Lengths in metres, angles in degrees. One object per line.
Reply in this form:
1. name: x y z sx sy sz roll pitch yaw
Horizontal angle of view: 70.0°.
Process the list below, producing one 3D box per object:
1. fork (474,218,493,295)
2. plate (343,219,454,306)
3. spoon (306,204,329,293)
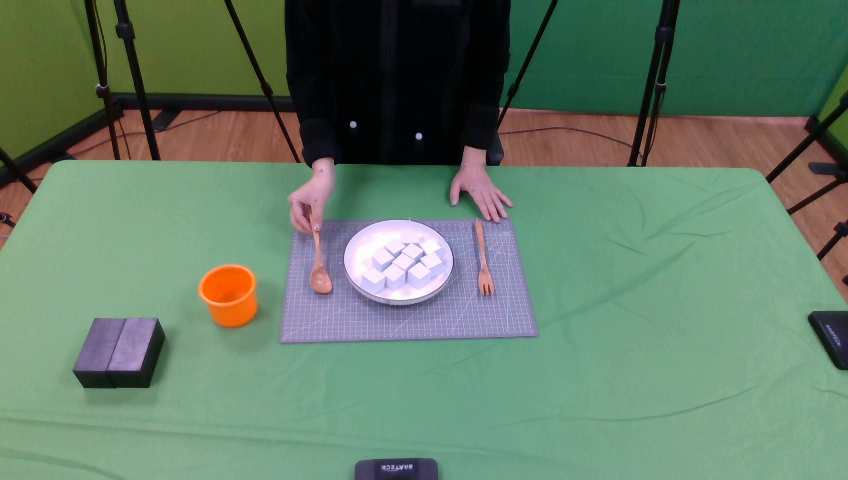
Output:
1. fork: 0.112 0.029 1.177 0.028 0.019 0.206 -3 48 1
2. plate: -0.047 0.045 1.136 0.208 0.039 0.206 2 46 -2
3. spoon: -0.203 0.014 1.135 0.042 0.021 0.192 6 60 -31
